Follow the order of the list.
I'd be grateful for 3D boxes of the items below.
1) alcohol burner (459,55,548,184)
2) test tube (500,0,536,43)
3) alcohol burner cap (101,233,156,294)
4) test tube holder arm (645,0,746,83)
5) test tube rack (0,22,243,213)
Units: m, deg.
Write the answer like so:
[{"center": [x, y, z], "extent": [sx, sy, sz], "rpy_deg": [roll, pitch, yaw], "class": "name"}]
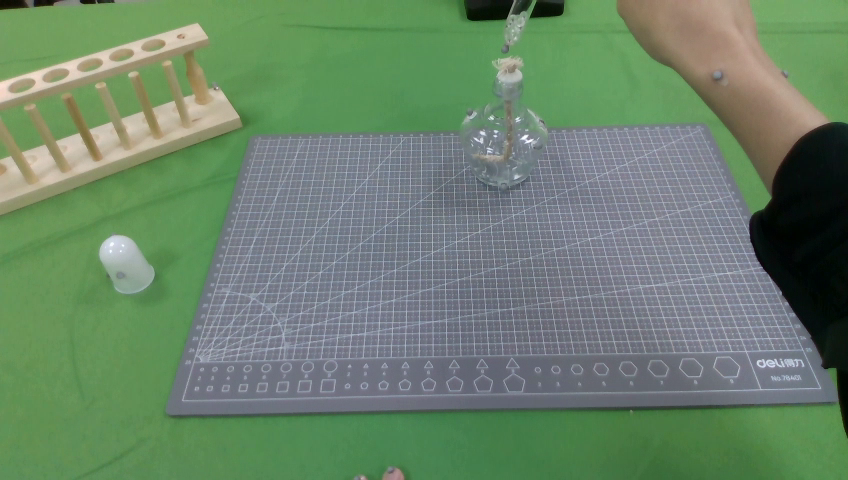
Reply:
[{"center": [0.069, -0.106, 0.519], "extent": [0.078, 0.120, 0.077], "rpy_deg": [0, 49, 0], "class": "alcohol burner"}, {"center": [0.085, -0.202, 0.411], "extent": [0.017, 0.151, 0.017], "rpy_deg": [12, 45, -12], "class": "test tube"}, {"center": [-0.235, 0.015, 0.476], "extent": [0.034, 0.048, 0.033], "rpy_deg": [-1, 48, 1], "class": "alcohol burner cap"}, {"center": [0.137, -0.167, 0.386], "extent": [0.013, 0.015, 0.177], "rpy_deg": [-33, 76, -35], "class": "test tube holder arm"}, {"center": [-0.306, -0.117, 0.566], "extent": [0.242, 0.086, 0.066], "rpy_deg": [-25, 52, -19], "class": "test tube rack"}]
